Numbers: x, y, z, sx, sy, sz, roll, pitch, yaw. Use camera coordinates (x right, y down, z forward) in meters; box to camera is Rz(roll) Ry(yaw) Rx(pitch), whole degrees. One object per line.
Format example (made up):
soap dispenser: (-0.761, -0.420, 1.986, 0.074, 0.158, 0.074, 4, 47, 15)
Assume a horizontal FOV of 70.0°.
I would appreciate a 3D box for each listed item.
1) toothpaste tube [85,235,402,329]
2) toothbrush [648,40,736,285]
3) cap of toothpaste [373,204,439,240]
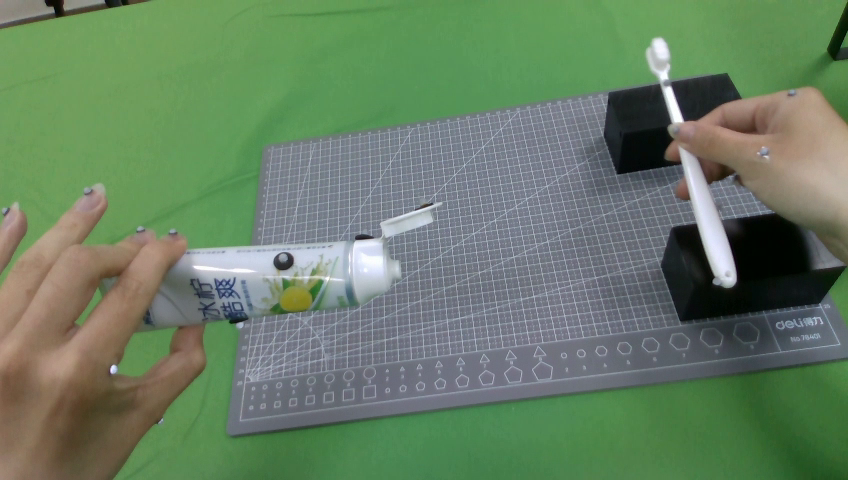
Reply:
toothpaste tube: (-0.094, 0.019, 0.324, 0.165, 0.055, 0.034, -6, 27, 5)
toothbrush: (0.175, -0.057, 0.398, 0.014, 0.017, 0.180, -7, 68, 1)
cap of toothpaste: (-0.008, -0.009, 0.315, 0.037, 0.037, 0.011, -21, 92, -4)
